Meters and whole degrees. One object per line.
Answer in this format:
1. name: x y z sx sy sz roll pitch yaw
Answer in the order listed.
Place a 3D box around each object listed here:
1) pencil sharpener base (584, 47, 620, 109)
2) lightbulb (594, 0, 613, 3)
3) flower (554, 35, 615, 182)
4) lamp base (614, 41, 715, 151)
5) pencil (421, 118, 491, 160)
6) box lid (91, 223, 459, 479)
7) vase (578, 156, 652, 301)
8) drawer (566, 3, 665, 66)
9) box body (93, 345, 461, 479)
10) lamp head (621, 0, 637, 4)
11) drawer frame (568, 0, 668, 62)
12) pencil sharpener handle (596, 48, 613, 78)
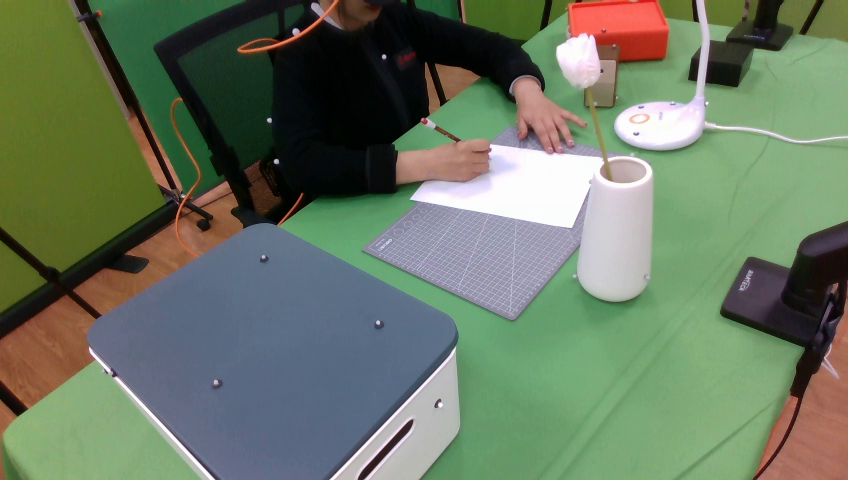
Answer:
1. pencil sharpener base: 0.367 -0.336 1.249 0.061 0.107 0.076 6 42 19
2. lightbulb: 0.305 -0.437 0.978 0.060 0.107 0.059 12 43 -11
3. flower: 0.237 -0.083 0.774 0.044 0.363 0.038 -22 26 7
4. lamp base: 0.449 -0.277 1.106 0.179 0.181 0.160 1 41 9
5. pencil: 0.063 -0.179 1.089 0.012 0.196 0.012 -17 65 40
6. box lid: -0.174 0.103 0.667 0.368 0.015 0.264 24 48 35
7. vase: 0.261 -0.011 0.812 0.098 0.201 0.097 -4 40 4
8. drawer: 0.447 -0.493 1.440 0.211 0.073 0.194 0 40 10
9. box body: -0.162 0.170 0.708 0.361 0.161 0.255 25 50 34
10. lamp head: 0.319 -0.453 0.962 0.113 0.123 0.112 20 33 -13
11. drawer frame: 0.450 -0.495 1.441 0.213 0.083 0.201 -1 40 9
12. pencil sharpener handle: 0.382 -0.378 1.276 0.036 0.068 0.030 4 41 21
